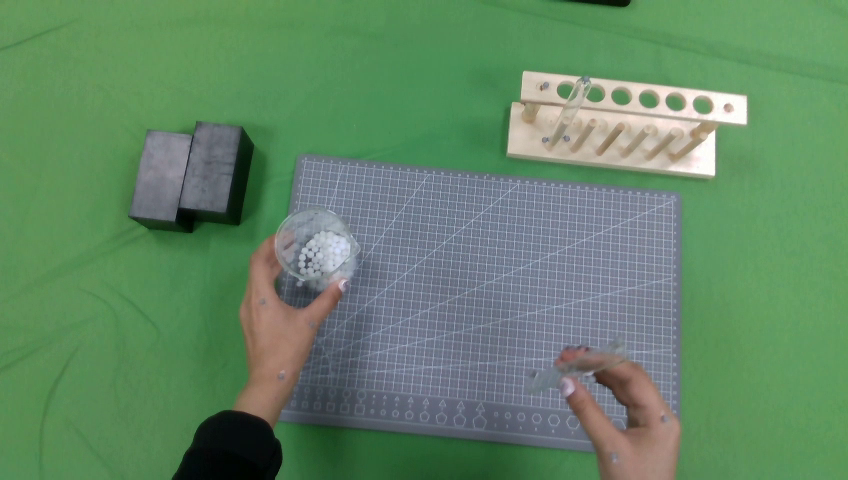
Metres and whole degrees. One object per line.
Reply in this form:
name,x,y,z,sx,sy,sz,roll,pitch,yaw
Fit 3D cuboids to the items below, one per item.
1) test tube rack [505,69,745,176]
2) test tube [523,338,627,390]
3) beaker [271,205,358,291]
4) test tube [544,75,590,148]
test tube rack,0.220,-0.130,0.684,0.242,0.085,0.066,6,77,0
test tube,0.115,0.102,0.484,0.017,0.151,0.017,6,66,-14
beaker,-0.107,0.013,0.632,0.084,0.100,0.073,6,77,-1
test tube,0.148,-0.131,0.636,0.017,0.151,0.017,0,76,0
